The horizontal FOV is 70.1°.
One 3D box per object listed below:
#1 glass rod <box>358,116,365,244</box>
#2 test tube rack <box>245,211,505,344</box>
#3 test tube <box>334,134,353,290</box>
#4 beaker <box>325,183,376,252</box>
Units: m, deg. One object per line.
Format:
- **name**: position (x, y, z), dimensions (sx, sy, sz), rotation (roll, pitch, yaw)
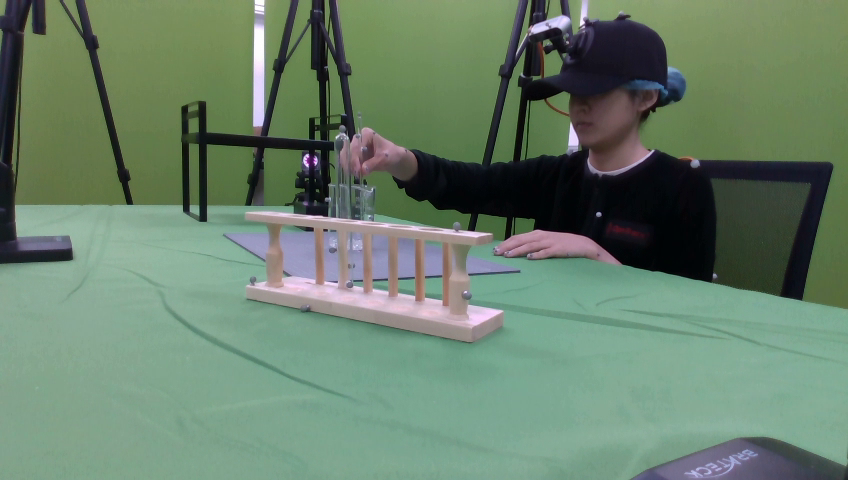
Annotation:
- **glass rod**: position (-0.095, -0.089, 0.927), dimensions (0.008, 0.199, 0.008), rotation (-1, 9, 0)
- **test tube rack**: position (-0.049, 0.025, 0.547), dimensions (0.241, 0.085, 0.067), rotation (7, 8, 29)
- **test tube**: position (-0.077, -0.026, 0.579), dimensions (0.017, 0.150, 0.017), rotation (0, 7, 0)
- **beaker**: position (-0.110, -0.034, 0.920), dimensions (0.083, 0.100, 0.074), rotation (11, 11, 43)
